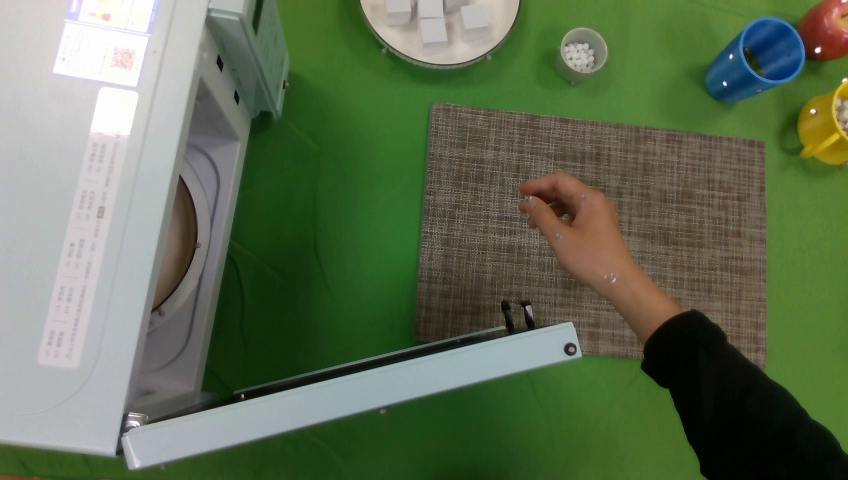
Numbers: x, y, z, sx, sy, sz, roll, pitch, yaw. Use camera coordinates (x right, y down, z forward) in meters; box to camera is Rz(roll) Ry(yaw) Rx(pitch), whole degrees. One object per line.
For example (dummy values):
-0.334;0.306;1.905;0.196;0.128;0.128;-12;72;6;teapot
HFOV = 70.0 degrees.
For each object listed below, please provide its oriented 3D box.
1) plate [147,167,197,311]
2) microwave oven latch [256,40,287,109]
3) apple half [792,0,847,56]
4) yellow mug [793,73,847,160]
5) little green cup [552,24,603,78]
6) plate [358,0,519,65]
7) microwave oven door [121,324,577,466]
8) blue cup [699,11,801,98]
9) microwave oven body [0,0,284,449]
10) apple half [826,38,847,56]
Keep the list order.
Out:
-0.340;-0.012;0.624;0.209;0.038;0.208;1;83;-8;plate
-0.182;-0.198;0.715;0.030;0.029;0.079;11;82;-5;microwave oven latch
0.525;-0.290;0.810;0.053;0.075;0.080;11;84;-1;apple half
0.543;-0.154;0.796;0.131;0.064;0.100;-37;87;-9;yellow mug
0.196;-0.242;0.783;0.061;0.038;0.061;1;81;-6;little green cup
0.017;-0.318;0.774;0.208;0.039;0.207;1;82;-6;plate
-0.060;0.133;0.579;0.356;0.244;0.039;-12;82;-8;microwave oven door
0.407;-0.227;0.773;0.093;0.100;0.092;1;83;-7;blue cup
-0.341;-0.061;0.580;0.327;0.260;0.440;8;82;-6;microwave oven body
0.564;-0.283;0.812;0.033;0.081;0.081;11;80;-1;apple half
